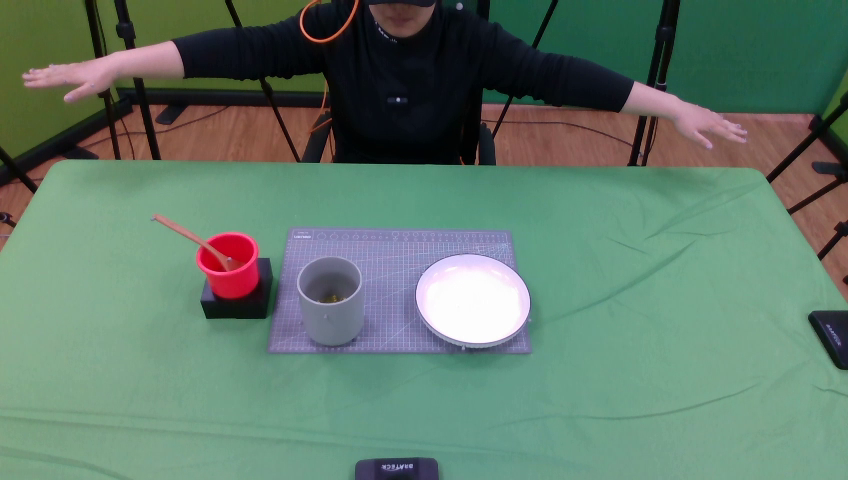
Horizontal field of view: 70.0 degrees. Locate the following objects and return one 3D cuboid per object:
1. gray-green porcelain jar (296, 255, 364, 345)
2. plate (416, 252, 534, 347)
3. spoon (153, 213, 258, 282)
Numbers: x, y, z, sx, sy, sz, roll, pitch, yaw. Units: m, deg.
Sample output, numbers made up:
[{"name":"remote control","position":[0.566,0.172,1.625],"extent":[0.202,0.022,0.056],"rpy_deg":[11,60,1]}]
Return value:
[{"name":"gray-green porcelain jar","position":[-0.154,0.105,1.008],"extent":[0.106,0.127,0.105],"rpy_deg":[2,46,-2]},{"name":"plate","position":[0.090,0.109,1.084],"extent":[0.208,0.039,0.206],"rpy_deg":[2,46,-2]},{"name":"spoon","position":[-0.360,0.011,1.005],"extent":[0.195,0.021,0.041],"rpy_deg":[41,36,-26]}]
